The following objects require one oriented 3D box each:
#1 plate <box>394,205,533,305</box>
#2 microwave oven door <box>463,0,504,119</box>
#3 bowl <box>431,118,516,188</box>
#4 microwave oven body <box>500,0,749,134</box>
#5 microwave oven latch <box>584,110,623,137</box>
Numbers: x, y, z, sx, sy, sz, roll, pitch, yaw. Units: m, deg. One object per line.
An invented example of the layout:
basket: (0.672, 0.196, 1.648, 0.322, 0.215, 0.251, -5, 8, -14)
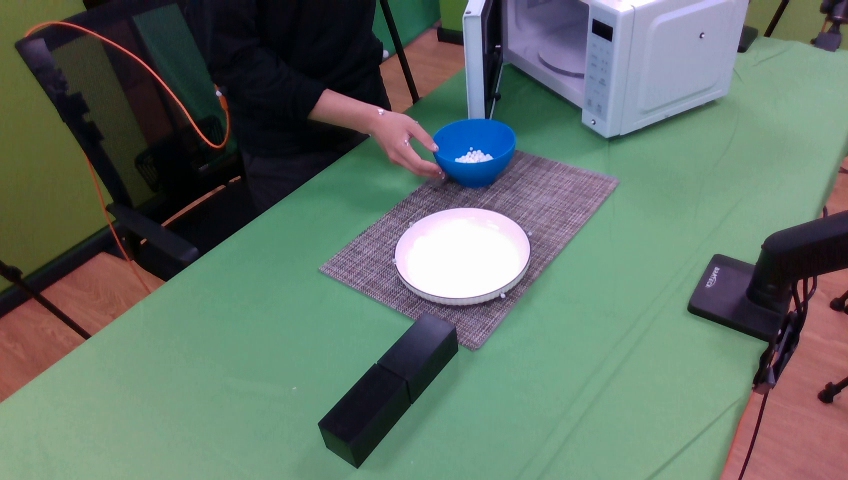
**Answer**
plate: (0.059, 0.025, 0.915, 0.207, 0.039, 0.206, -4, 41, 4)
microwave oven door: (0.125, -0.403, 1.226, 0.039, 0.245, 0.355, 3, 42, 12)
bowl: (0.090, -0.147, 1.080, 0.151, 0.077, 0.150, -4, 40, 4)
microwave oven body: (0.382, -0.444, 1.246, 0.327, 0.261, 0.437, -22, 42, -16)
microwave oven latch: (0.337, -0.222, 1.142, 0.030, 0.029, 0.078, -21, 42, -14)
